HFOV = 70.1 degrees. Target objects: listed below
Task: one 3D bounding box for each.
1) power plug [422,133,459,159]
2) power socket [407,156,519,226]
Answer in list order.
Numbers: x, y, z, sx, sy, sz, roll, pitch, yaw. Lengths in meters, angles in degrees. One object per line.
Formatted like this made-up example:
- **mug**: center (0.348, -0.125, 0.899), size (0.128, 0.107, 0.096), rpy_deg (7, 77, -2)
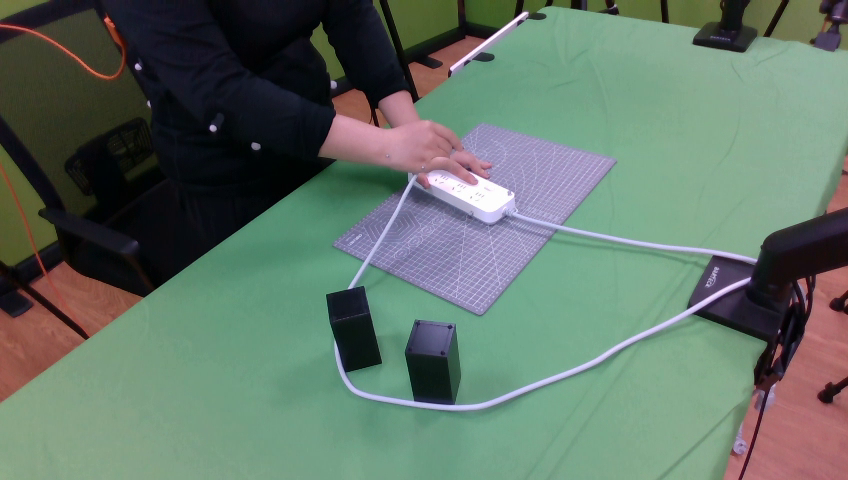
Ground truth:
- **power plug**: center (0.023, -0.145, 0.975), size (0.073, 0.053, 0.035), rpy_deg (-28, 55, -12)
- **power socket**: center (0.061, -0.089, 1.054), size (0.072, 0.033, 0.225), rpy_deg (-36, 48, -29)
